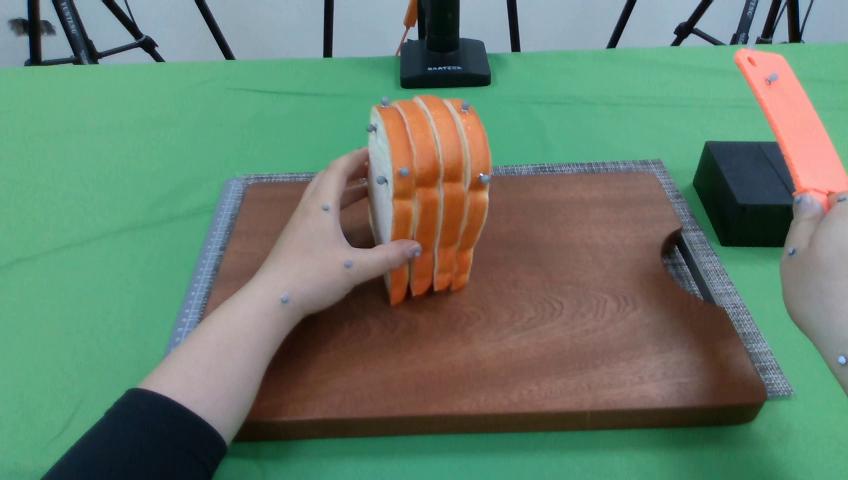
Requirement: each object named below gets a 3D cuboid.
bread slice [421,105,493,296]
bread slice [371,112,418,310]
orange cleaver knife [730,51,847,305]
[{"bbox_3d":[0.025,-0.036,0.478,0.019,0.132,0.103,-4,43,-16],"label":"bread slice"},{"bbox_3d":[-0.025,-0.030,0.472,0.018,0.135,0.106,-7,38,-13],"label":"bread slice"},{"bbox_3d":[0.260,-0.052,0.411,0.077,0.012,0.209,11,58,-24],"label":"orange cleaver knife"}]
